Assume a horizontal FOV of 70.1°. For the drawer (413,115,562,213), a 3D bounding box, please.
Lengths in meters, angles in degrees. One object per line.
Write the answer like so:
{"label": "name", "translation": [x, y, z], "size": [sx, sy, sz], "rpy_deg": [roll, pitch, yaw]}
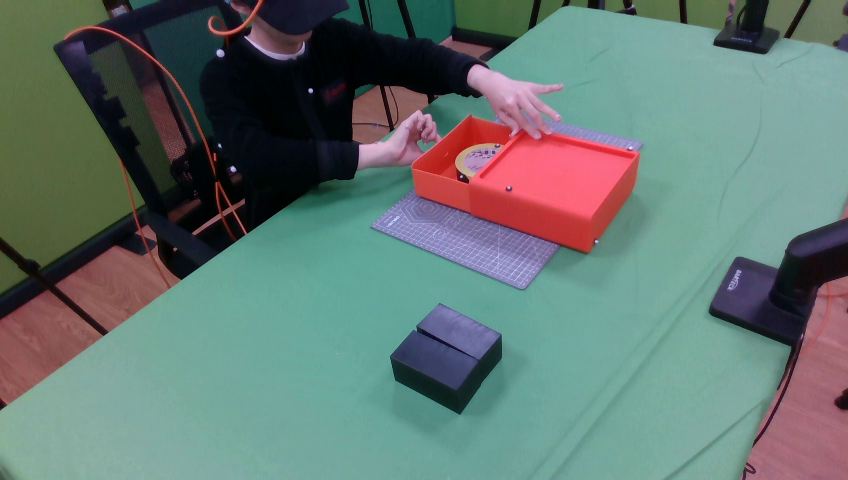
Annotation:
{"label": "drawer", "translation": [0.121, -0.126, 1.059], "size": [0.210, 0.073, 0.195], "rpy_deg": [21, 47, 29]}

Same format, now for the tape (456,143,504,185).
{"label": "tape", "translation": [0.115, -0.119, 1.061], "size": [0.117, 0.053, 0.116], "rpy_deg": [-5, 41, 4]}

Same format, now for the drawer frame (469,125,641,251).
{"label": "drawer frame", "translation": [0.217, -0.094, 1.003], "size": [0.212, 0.083, 0.202], "rpy_deg": [20, 47, 28]}
